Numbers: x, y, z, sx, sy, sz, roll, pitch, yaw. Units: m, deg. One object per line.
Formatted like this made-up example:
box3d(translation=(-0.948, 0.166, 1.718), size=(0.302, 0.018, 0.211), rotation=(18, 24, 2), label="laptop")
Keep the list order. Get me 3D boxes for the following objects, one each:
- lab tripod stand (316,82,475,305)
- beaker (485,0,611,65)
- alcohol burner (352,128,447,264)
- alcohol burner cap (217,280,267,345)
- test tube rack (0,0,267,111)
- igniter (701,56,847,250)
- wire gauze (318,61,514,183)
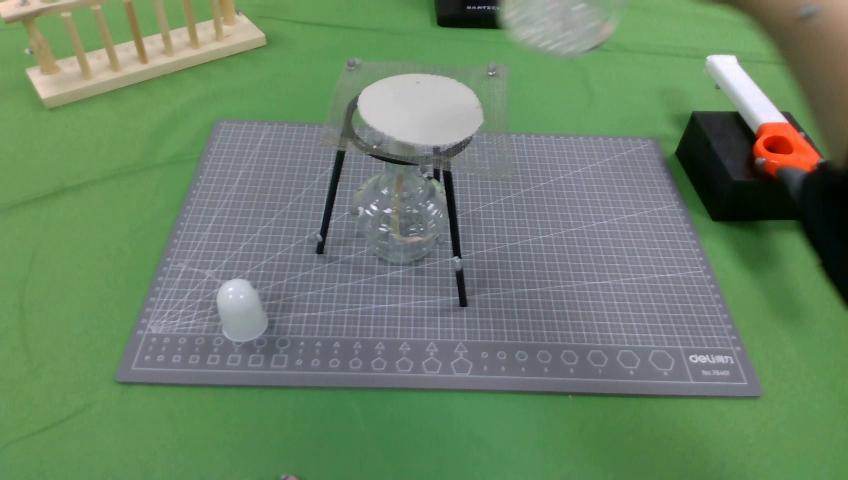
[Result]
box3d(translation=(-0.010, -0.036, 0.456), size=(0.148, 0.132, 0.147), rotation=(4, 47, -3), label="lab tripod stand")
box3d(translation=(0.077, -0.157, 0.341), size=(0.074, 0.101, 0.083), rotation=(1, 50, -8), label="beaker")
box3d(translation=(-0.018, -0.037, 0.470), size=(0.078, 0.120, 0.077), rotation=(1, 48, -1), label="alcohol burner")
box3d(translation=(-0.131, 0.048, 0.430), size=(0.034, 0.048, 0.033), rotation=(3, 46, -3), label="alcohol burner cap")
box3d(translation=(-0.300, -0.227, 0.650), size=(0.242, 0.086, 0.066), rotation=(-27, 55, -26), label="test tube rack")
box3d(translation=(0.315, -0.092, 0.544), size=(0.057, 0.025, 0.273), rotation=(-2, 45, -2), label="igniter")
box3d(translation=(-0.001, -0.088, 0.412), size=(0.125, 0.011, 0.120), rotation=(7, 47, 0), label="wire gauze")
